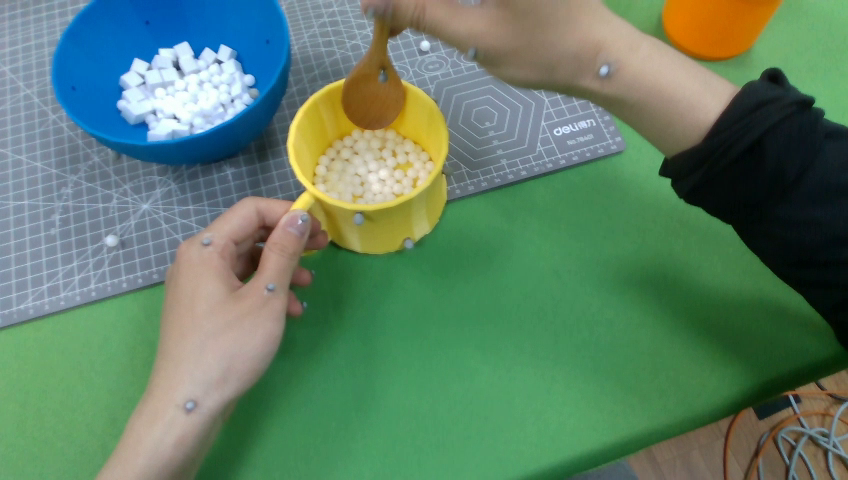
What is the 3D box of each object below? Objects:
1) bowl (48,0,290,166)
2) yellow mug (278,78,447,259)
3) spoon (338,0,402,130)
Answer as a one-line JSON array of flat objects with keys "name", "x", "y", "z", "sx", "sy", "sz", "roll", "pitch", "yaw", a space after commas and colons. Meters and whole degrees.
[{"name": "bowl", "x": -0.161, "y": -0.105, "z": 0.419, "sx": 0.151, "sy": 0.077, "sz": 0.150, "roll": 0, "pitch": 65, "yaw": 0}, {"name": "yellow mug", "x": -0.045, "y": -0.038, "z": 0.394, "sx": 0.099, "sy": 0.064, "sz": 0.130, "roll": 37, "pitch": 71, "yaw": 16}, {"name": "spoon", "x": -0.024, "y": -0.113, "z": 0.321, "sx": 0.042, "sy": 0.194, "sz": 0.021, "roll": -1, "pitch": 73, "yaw": -9}]
